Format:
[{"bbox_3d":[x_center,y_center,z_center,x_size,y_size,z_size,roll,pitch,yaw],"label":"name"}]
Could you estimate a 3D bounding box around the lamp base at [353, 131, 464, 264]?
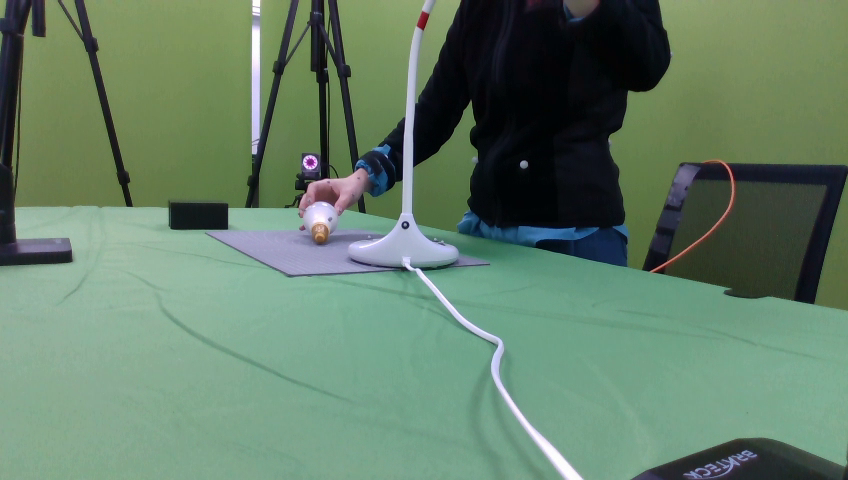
[{"bbox_3d":[-0.015,-0.062,0.851,0.161,0.180,0.178,-1,11,-20],"label":"lamp base"}]
